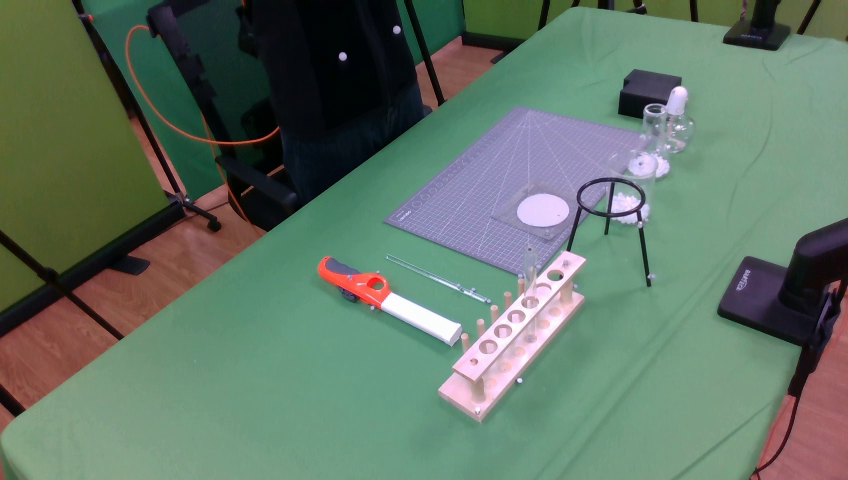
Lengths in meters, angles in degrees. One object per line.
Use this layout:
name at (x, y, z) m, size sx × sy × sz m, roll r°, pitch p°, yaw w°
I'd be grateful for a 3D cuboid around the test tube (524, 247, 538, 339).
test tube at (0.133, 0.070, 0.749) m, size 0.017 × 0.151 × 0.017 m, roll -5°, pitch 38°, yaw 4°

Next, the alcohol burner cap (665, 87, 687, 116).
alcohol burner cap at (0.445, -0.244, 1.060) m, size 0.034 × 0.048 × 0.033 m, roll -2°, pitch 45°, yaw 3°

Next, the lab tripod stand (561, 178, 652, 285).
lab tripod stand at (0.263, -0.014, 0.864) m, size 0.148 × 0.132 × 0.147 m, roll -7°, pitch 38°, yaw 6°

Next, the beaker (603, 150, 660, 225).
beaker at (0.324, -0.080, 0.957) m, size 0.083 × 0.101 × 0.074 m, roll 7°, pitch 42°, yaw 20°

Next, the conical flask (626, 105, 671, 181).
conical flask at (0.388, -0.168, 1.031) m, size 0.075 × 0.122 × 0.075 m, roll -6°, pitch 40°, yaw 5°

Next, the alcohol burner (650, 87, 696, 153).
alcohol burner at (0.448, -0.218, 1.084) m, size 0.078 × 0.119 × 0.077 m, roll -6°, pitch 38°, yaw 5°

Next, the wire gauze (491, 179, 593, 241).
wire gauze at (0.198, -0.051, 1.014) m, size 0.125 × 0.011 × 0.120 m, roll -38°, pitch 48°, yaw -27°

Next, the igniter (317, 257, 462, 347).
igniter at (-0.061, 0.085, 0.891) m, size 0.274 × 0.025 × 0.057 m, roll 23°, pitch 59°, yaw 33°

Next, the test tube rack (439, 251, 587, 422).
test tube rack at (0.118, 0.111, 0.780) m, size 0.066 × 0.085 × 0.243 m, roll 26°, pitch 51°, yaw 34°

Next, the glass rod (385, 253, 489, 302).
glass rod at (0.016, 0.055, 0.927) m, size 0.198 × 0.008 × 0.008 m, roll 23°, pitch 50°, yaw 32°
